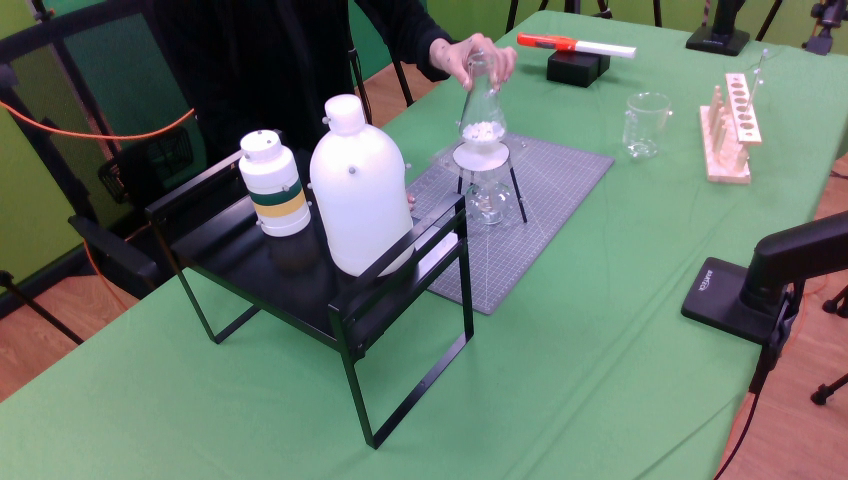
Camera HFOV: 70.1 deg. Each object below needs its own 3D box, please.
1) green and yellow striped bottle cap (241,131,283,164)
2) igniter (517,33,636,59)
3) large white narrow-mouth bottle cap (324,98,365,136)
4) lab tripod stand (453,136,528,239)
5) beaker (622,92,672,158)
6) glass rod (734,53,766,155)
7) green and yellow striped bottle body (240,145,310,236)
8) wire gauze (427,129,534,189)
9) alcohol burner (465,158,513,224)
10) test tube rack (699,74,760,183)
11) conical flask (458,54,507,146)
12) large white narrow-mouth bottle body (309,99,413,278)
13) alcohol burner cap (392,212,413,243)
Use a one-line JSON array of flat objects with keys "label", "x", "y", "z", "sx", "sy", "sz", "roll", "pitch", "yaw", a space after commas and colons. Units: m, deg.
[{"label": "green and yellow striped bottle cap", "x": -0.187, "y": -0.107, "z": 0.695, "sx": 0.045, "sy": 0.020, "sz": 0.045, "roll": -3, "pitch": 39, "yaw": 3}, {"label": "igniter", "x": 0.336, "y": -0.441, "z": 1.369, "sx": 0.275, "sy": 0.025, "sz": 0.057, "roll": 17, "pitch": 41, "yaw": 24}, {"label": "large white narrow-mouth bottle cap", "x": -0.076, "y": -0.120, "z": 0.586, "sx": 0.038, "sy": 0.024, "sz": 0.037, "roll": -3, "pitch": 42, "yaw": 3}, {"label": "lab tripod stand", "x": 0.094, "y": -0.086, "z": 0.974, "sx": 0.148, "sy": 0.132, "sz": 0.147, "roll": -4, "pitch": 42, "yaw": 4}, {"label": "beaker", "x": 0.402, "y": -0.209, "z": 1.106, "sx": 0.074, "sy": 0.101, "sz": 0.083, "roll": -9, "pitch": 40, "yaw": -2}, {"label": "glass rod", "x": 0.540, "y": -0.220, "z": 1.007, "sx": 0.008, "sy": 0.201, "sz": 0.008, "roll": -5, "pitch": 45, "yaw": 6}, {"label": "green and yellow striped bottle body", "x": -0.181, "y": -0.068, "z": 0.729, "sx": 0.063, "sy": 0.120, "sz": 0.063, "roll": -4, "pitch": 40, "yaw": 4}, {"label": "wire gauze", "x": 0.086, "y": -0.131, "z": 0.923, "sx": 0.124, "sy": 0.011, "sz": 0.122, "roll": 26, "pitch": 52, "yaw": 33}, {"label": "alcohol burner", "x": 0.105, "y": -0.085, "z": 0.987, "sx": 0.078, "sy": 0.119, "sz": 0.077, "roll": -5, "pitch": 43, "yaw": 5}, {"label": "test tube rack", "x": 0.547, "y": -0.208, "z": 1.095, "sx": 0.066, "sy": 0.085, "sz": 0.242, "roll": 6, "pitch": 42, "yaw": 16}, {"label": "conical flask", "x": 0.084, "y": -0.204, "z": 0.881, "sx": 0.075, "sy": 0.122, "sz": 0.075, "roll": -3, "pitch": 38, "yaw": 3}, {"label": "large white narrow-mouth bottle body", "x": -0.068, "y": -0.057, "z": 0.645, "sx": 0.102, "sy": 0.195, "sz": 0.101, "roll": -4, "pitch": 42, "yaw": 4}, {"label": "alcohol burner cap", "x": -0.037, "y": -0.023, "z": 0.990, "sx": 0.034, "sy": 0.048, "sz": 0.033, "roll": -5, "pitch": 40, "yaw": 5}]
